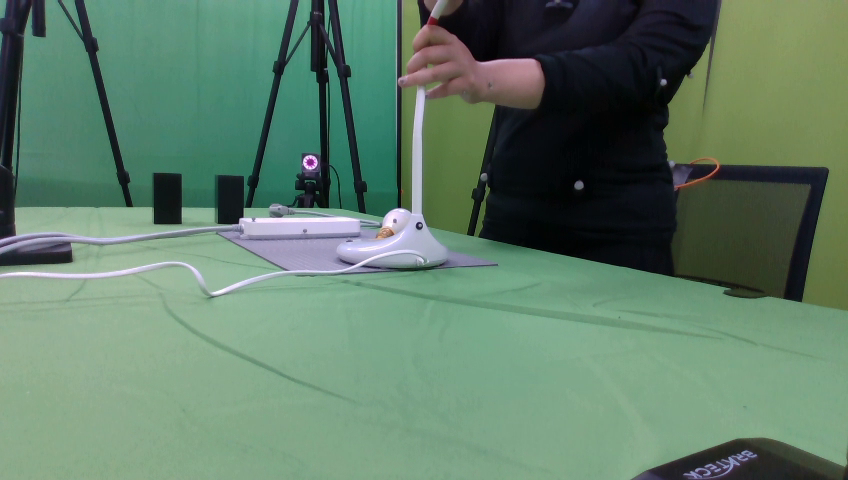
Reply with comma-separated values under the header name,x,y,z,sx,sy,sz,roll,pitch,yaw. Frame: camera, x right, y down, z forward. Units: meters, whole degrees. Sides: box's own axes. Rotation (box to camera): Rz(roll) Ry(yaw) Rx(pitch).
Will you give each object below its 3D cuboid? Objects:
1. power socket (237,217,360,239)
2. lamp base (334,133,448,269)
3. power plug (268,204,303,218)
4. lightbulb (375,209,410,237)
name,x,y,z,sx,sy,sz,roll,pitch,yaw
power socket,-0.221,-0.023,1.080,0.228,0.032,0.072,-2,8,-32
lamp base,-0.034,-0.057,0.831,0.161,0.180,0.178,-3,12,-36
power plug,-0.327,-0.060,1.404,0.073,0.035,0.052,22,-14,-25
lightbulb,-0.052,-0.016,1.023,0.059,0.059,0.108,6,23,21
